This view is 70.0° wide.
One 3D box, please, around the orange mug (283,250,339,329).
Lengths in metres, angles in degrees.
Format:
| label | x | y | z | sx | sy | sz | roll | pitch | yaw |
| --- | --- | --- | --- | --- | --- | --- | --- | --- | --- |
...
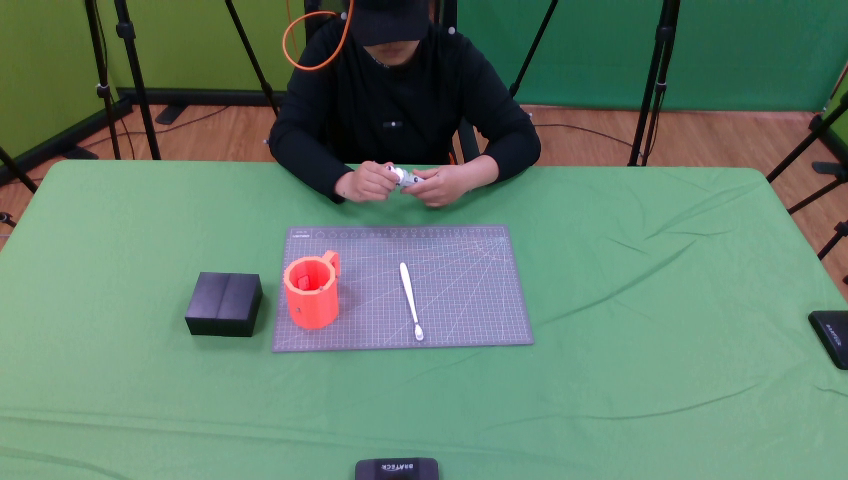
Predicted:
| label | x | y | z | sx | sy | sz | roll | pitch | yaw |
| --- | --- | --- | --- | --- | --- | --- | --- | --- | --- |
| orange mug | -0.186 | 0.079 | 1.052 | 0.083 | 0.101 | 0.126 | 20 | 52 | 15 |

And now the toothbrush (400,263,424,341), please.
| label | x | y | z | sx | sy | sz | roll | pitch | yaw |
| --- | --- | --- | --- | --- | --- | --- | --- | --- | --- |
| toothbrush | -0.024 | 0.106 | 1.093 | 0.014 | 0.017 | 0.180 | -17 | 46 | 1 |

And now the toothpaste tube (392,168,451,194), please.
| label | x | y | z | sx | sy | sz | roll | pitch | yaw |
| --- | --- | --- | --- | --- | --- | --- | --- | --- | --- |
| toothpaste tube | -0.012 | -0.118 | 1.227 | 0.166 | 0.034 | 0.054 | 6 | 32 | -48 |

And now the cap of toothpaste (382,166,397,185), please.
| label | x | y | z | sx | sy | sz | roll | pitch | yaw |
| --- | --- | --- | --- | --- | --- | --- | --- | --- | --- |
| cap of toothpaste | -0.066 | -0.126 | 1.170 | 0.011 | 0.037 | 0.037 | 6 | 34 | -47 |
